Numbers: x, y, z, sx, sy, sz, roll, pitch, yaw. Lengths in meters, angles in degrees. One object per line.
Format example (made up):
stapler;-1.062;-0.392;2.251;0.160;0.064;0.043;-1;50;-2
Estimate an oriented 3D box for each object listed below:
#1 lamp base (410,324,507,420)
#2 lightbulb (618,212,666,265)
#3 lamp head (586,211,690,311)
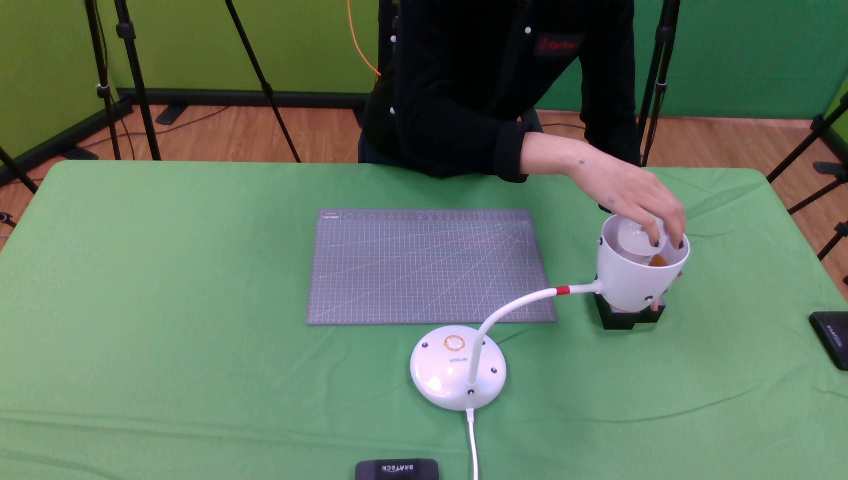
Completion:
lamp base;0.064;0.163;0.937;0.161;0.181;0.178;-10;51;-13
lightbulb;0.285;0.013;0.806;0.059;0.108;0.059;0;35;0
lamp head;0.281;0.039;0.820;0.112;0.123;0.111;6;41;-5
